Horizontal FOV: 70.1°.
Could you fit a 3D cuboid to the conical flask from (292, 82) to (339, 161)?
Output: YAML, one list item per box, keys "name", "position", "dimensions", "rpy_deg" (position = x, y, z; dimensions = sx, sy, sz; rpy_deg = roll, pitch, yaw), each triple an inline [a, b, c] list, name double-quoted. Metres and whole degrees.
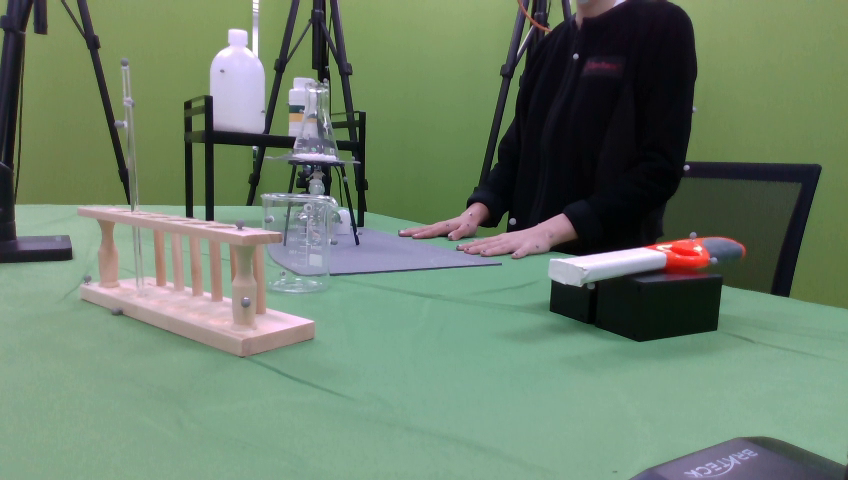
- name: "conical flask"
  position: [-0.171, -0.185, 0.957]
  dimensions: [0.075, 0.122, 0.075]
  rpy_deg: [2, 7, 0]

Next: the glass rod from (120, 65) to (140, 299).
- name: "glass rod"
  position: [-0.249, -0.047, 0.513]
  dimensions: [0.008, 0.199, 0.008]
  rpy_deg: [-1, 4, 0]

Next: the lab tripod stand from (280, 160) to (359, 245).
- name: "lab tripod stand"
  position: [-0.176, -0.062, 0.973]
  dimensions: [0.148, 0.131, 0.148]
  rpy_deg: [1, 7, 0]

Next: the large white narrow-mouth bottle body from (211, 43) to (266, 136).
- name: "large white narrow-mouth bottle body"
  position: [-0.361, -0.302, 1.176]
  dimensions: [0.102, 0.194, 0.102]
  rpy_deg: [1, 7, 0]

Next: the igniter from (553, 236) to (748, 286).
- name: "igniter"
  position: [0.221, 0.017, 0.559]
  dimensions: [0.278, 0.025, 0.057]
  rpy_deg: [-4, 14, -39]

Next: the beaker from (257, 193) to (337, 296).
- name: "beaker"
  position: [-0.130, 0.004, 0.628]
  dimensions: [0.084, 0.100, 0.074]
  rpy_deg: [5, 8, 15]

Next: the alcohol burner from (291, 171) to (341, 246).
- name: "alcohol burner"
  position: [-0.172, -0.050, 0.962]
  dimensions: [0.078, 0.119, 0.078]
  rpy_deg: [1, 5, 0]

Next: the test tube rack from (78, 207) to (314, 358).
- name: "test tube rack"
  position: [-0.197, 0.024, 0.500]
  dimensions: [0.241, 0.085, 0.067]
  rpy_deg: [8, 8, 37]

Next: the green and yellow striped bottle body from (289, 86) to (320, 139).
- name: "green and yellow striped bottle body"
  position: [-0.250, -0.272, 1.261]
  dimensions: [0.063, 0.119, 0.063]
  rpy_deg: [3, 7, 0]

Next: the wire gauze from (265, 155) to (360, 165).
- name: "wire gauze"
  position: [-0.181, -0.128, 0.969]
  dimensions: [0.126, 0.011, 0.121]
  rpy_deg: [-3, 7, -26]

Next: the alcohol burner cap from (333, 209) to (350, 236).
- name: "alcohol burner cap"
  position: [-0.151, -0.033, 1.116]
  dimensions: [0.034, 0.048, 0.034]
  rpy_deg: [3, 6, 0]

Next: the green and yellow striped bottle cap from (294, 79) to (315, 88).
- name: "green and yellow striped bottle cap"
  position: [-0.248, -0.323, 1.256]
  dimensions: [0.045, 0.020, 0.045]
  rpy_deg: [3, 9, 0]

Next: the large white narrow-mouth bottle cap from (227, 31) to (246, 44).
- name: "large white narrow-mouth bottle cap"
  position: [-0.361, -0.388, 1.166]
  dimensions: [0.038, 0.024, 0.037]
  rpy_deg: [1, 7, 0]
